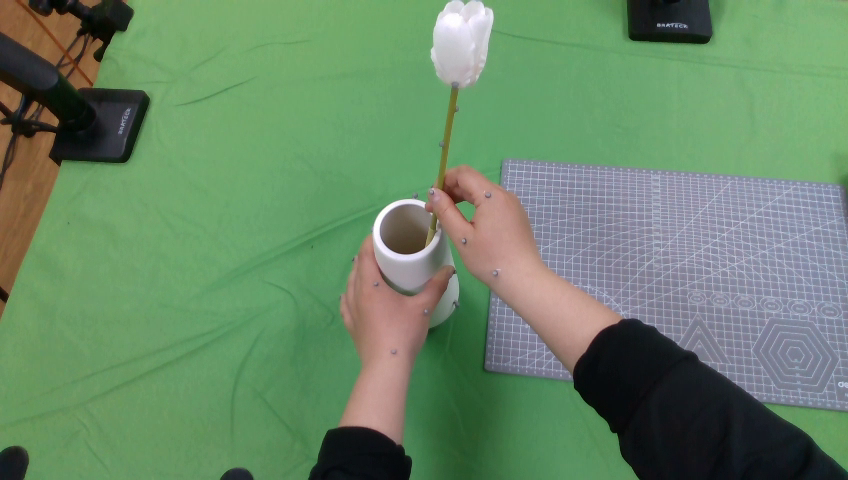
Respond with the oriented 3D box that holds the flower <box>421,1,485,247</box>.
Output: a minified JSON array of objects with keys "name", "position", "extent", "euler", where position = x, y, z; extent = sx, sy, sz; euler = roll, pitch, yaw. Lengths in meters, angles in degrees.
[{"name":"flower","position":[0.006,-0.039,0.548],"extent":[0.044,0.364,0.038],"euler":[-27,57,-28]}]

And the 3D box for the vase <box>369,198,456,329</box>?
[{"name":"vase","position":[-0.012,0.030,0.674],"extent":[0.098,0.201,0.097],"euler":[-1,65,2]}]
